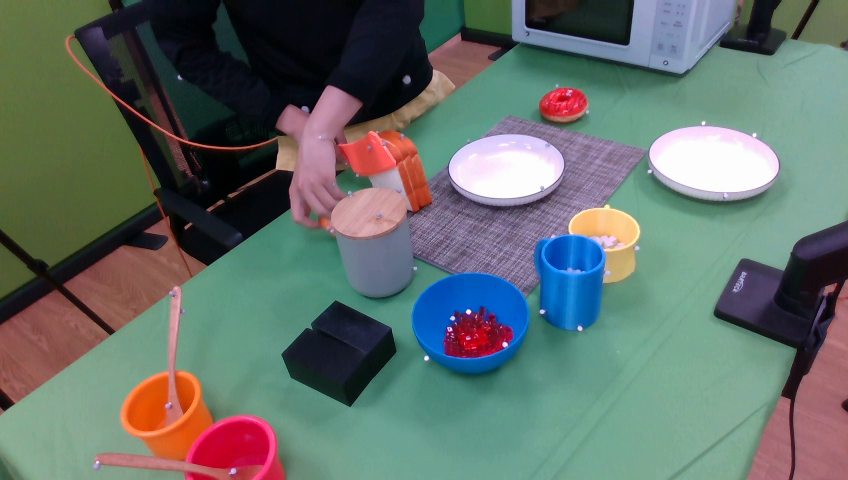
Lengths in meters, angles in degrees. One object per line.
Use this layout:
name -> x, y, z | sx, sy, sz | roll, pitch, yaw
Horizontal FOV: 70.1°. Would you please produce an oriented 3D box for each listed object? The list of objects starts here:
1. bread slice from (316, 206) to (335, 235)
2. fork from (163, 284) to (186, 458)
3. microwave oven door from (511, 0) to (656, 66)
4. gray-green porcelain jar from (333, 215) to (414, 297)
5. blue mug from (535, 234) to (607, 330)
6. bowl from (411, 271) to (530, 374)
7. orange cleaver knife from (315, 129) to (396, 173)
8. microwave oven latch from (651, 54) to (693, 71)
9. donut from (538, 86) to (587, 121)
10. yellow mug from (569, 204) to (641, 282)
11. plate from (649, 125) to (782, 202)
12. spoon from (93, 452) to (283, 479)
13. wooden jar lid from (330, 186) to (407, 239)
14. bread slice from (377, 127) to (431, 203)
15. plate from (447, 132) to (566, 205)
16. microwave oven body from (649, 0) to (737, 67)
bread slice -> -0.114, -0.026, 0.992 | 0.104, 0.019, 0.132 | 35, 22, 31
fork -> -0.302, 0.157, 0.733 | 0.028, 0.019, 0.207 | -3, 84, 15
microwave oven door -> 0.351, -0.539, 1.349 | 0.353, 0.245, 0.039 | 24, 50, 31
gray-green porcelain jar -> -0.071, 0.012, 0.887 | 0.106, 0.127, 0.105 | -4, 41, 4
blue mug -> 0.191, 0.048, 0.824 | 0.082, 0.106, 0.115 | -26, 44, -20
bowl -> 0.062, 0.120, 0.780 | 0.151, 0.077, 0.150 | -4, 40, 4
orange cleaver knife -> -0.120, -0.148, 1.037 | 0.012, 0.077, 0.209 | -41, 27, -29
microwave oven latch -> 0.531, -0.386, 1.301 | 0.078, 0.029, 0.030 | 26, 51, 33
donut -> 0.284, -0.280, 1.239 | 0.099, 0.048, 0.098 | -5, 42, 5
yellow mug -> 0.268, -0.005, 0.904 | 0.099, 0.064, 0.130 | 7, 41, 15
plate -> 0.493, -0.127, 1.036 | 0.207, 0.039, 0.206 | -4, 40, 4
spoon -> -0.240, 0.239, 0.632 | 0.195, 0.021, 0.041 | 26, 32, -32
wooden jar lid -> -0.077, -0.035, 0.846 | 0.108, 0.021, 0.108 | -6, 41, 5
bread slice -> -0.039, -0.130, 1.042 | 0.106, 0.135, 0.018 | 29, 57, 34
plate -> 0.146, -0.124, 1.076 | 0.209, 0.038, 0.208 | -3, 41, 3
microwave oven body -> 0.475, -0.602, 1.411 | 0.438, 0.261, 0.327 | 23, 50, 32
